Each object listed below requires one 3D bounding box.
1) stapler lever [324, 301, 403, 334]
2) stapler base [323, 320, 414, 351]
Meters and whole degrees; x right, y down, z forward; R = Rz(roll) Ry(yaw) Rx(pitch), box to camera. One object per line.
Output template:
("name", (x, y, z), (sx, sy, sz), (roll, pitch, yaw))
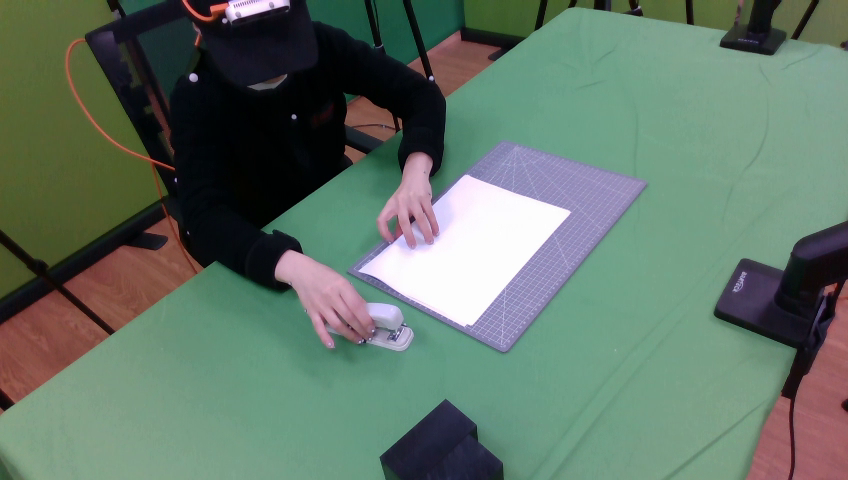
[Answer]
("stapler lever", (-0.084, 0.101, 0.827), (0.117, 0.040, 0.027), (10, 40, 22))
("stapler base", (-0.079, 0.120, 0.843), (0.130, 0.024, 0.041), (10, 40, 22))
